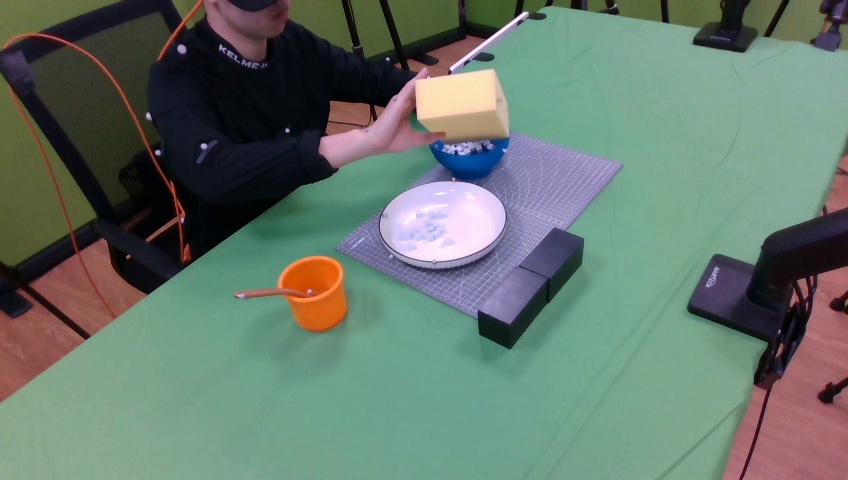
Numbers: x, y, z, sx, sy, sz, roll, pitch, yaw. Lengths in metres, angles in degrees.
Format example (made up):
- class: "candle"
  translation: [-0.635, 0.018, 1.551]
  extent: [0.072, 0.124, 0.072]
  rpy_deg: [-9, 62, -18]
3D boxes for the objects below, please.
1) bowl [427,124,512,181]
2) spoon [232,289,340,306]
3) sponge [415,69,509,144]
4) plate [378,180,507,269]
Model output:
- class: "bowl"
  translation: [0.085, -0.160, 1.098]
  extent: [0.151, 0.077, 0.150]
  rpy_deg: [-3, 38, 3]
- class: "spoon"
  translation: [-0.181, 0.074, 0.811]
  extent: [0.041, 0.195, 0.021]
  rpy_deg: [16, 90, 31]
- class: "sponge"
  translation: [0.067, -0.206, 0.968]
  extent: [0.118, 0.061, 0.207]
  rpy_deg: [-5, -2, 13]
- class: "plate"
  translation: [0.031, -0.022, 0.974]
  extent: [0.209, 0.038, 0.208]
  rpy_deg: [-4, 40, 4]
